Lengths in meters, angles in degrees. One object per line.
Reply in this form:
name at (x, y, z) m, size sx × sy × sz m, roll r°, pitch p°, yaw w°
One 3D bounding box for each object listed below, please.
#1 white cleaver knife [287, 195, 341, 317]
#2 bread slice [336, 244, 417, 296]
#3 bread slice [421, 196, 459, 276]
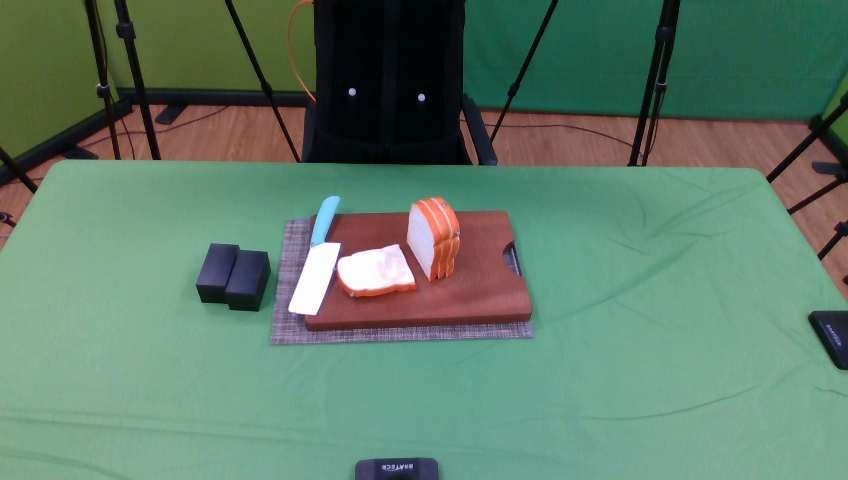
white cleaver knife at (-0.190, 0.025, 1.127) m, size 0.066 × 0.021 × 0.285 m, roll 5°, pitch 51°, yaw 6°
bread slice at (-0.091, 0.054, 1.098) m, size 0.134 × 0.018 × 0.106 m, roll -7°, pitch 44°, yaw -17°
bread slice at (0.031, -0.013, 1.099) m, size 0.019 × 0.132 × 0.104 m, roll -16°, pitch 51°, yaw -24°
